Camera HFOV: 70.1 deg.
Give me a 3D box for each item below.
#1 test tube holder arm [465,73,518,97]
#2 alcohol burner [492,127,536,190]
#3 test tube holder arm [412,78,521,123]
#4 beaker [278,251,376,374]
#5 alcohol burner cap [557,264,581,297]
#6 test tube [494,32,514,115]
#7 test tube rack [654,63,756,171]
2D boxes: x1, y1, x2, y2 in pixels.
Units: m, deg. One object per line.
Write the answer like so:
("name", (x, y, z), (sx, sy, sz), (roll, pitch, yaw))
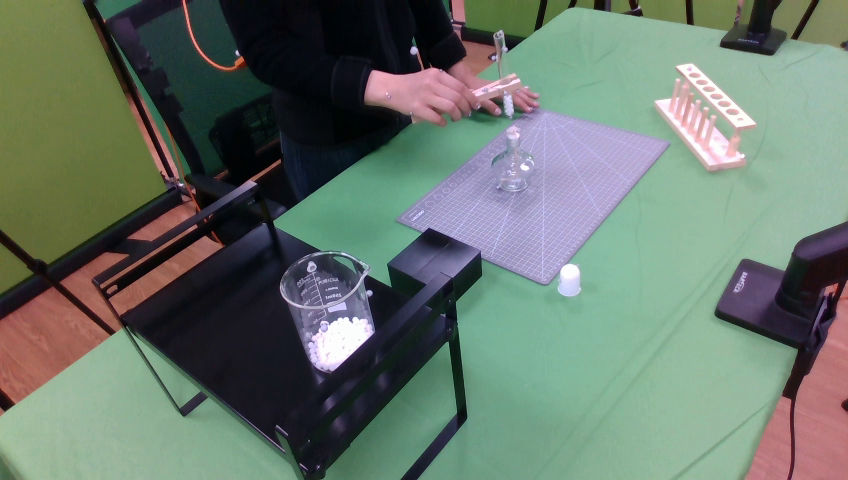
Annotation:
("test tube holder arm", (0.106, -0.238, 0.947), (0.088, 0.015, 0.010), (-25, 48, -7))
("alcohol burner", (0.156, -0.146, 1.046), (0.078, 0.119, 0.077), (-4, 43, 4))
("test tube holder arm", (0.066, -0.217, 0.939), (0.178, 0.015, 0.013), (-20, 47, -3))
("beaker", (-0.084, 0.070, 0.570), (0.084, 0.101, 0.073), (-18, 42, -13))
("alcohol burner cap", (0.208, 0.055, 0.866), (0.034, 0.048, 0.033), (-4, 42, 4))
("test tube", (0.125, -0.253, 0.934), (0.017, 0.151, 0.017), (-8, 51, 10))
("test tube rack", (0.510, -0.233, 1.120), (0.067, 0.085, 0.241), (-8, 41, -1))
